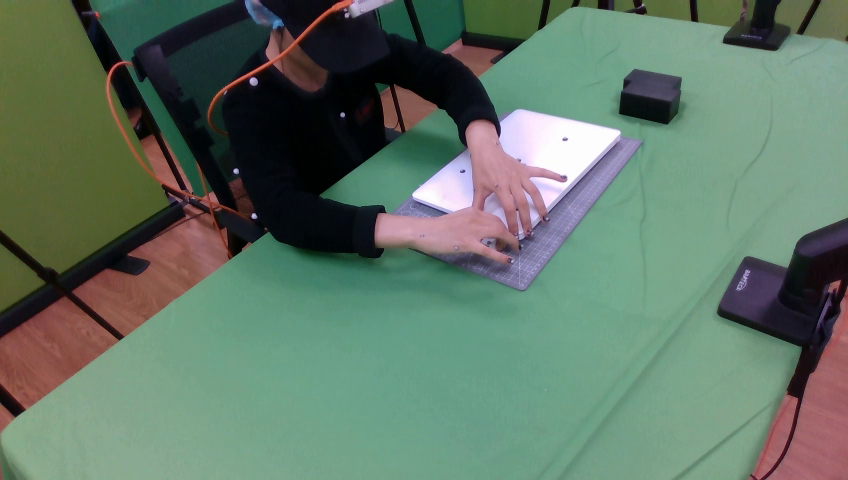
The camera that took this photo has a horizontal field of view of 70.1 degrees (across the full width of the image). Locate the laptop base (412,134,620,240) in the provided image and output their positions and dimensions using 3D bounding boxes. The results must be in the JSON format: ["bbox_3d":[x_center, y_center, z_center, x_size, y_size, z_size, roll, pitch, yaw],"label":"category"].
[{"bbox_3d":[0.175,-0.131,1.106,0.233,0.023,0.355,21,48,35],"label":"laptop base"}]

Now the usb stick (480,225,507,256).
[{"bbox_3d":[0.113,-0.004,0.949,0.021,0.027,0.059,17,47,33],"label":"usb stick"}]

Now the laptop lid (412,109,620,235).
[{"bbox_3d":[0.172,-0.141,1.100,0.239,0.013,0.358,24,50,35],"label":"laptop lid"}]
